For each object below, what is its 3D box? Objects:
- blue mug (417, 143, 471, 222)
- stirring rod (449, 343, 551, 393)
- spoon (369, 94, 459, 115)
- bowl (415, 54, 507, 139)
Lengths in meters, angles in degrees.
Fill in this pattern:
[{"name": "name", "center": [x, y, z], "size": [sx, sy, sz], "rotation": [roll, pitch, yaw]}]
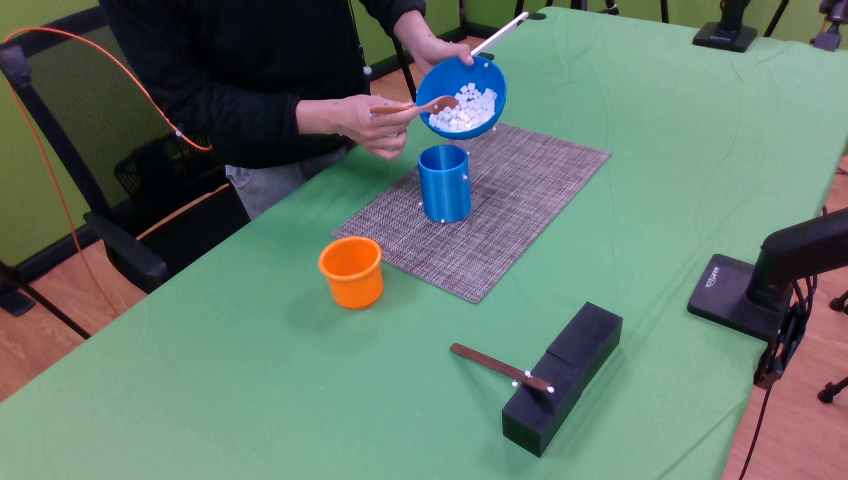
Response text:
[{"name": "blue mug", "center": [0.031, -0.104, 1.014], "size": [0.082, 0.106, 0.115], "rotation": [-14, 41, -8]}, {"name": "stirring rod", "center": [0.088, 0.154, 0.741], "size": [0.014, 0.006, 0.174], "rotation": [-40, 28, -25]}, {"name": "spoon", "center": [-0.012, -0.209, 0.950], "size": [0.195, 0.041, 0.021], "rotation": [-19, 62, -48]}, {"name": "bowl", "center": [0.067, -0.223, 1.004], "size": [0.151, 0.077, 0.150], "rotation": [-5, 67, 13]}]
